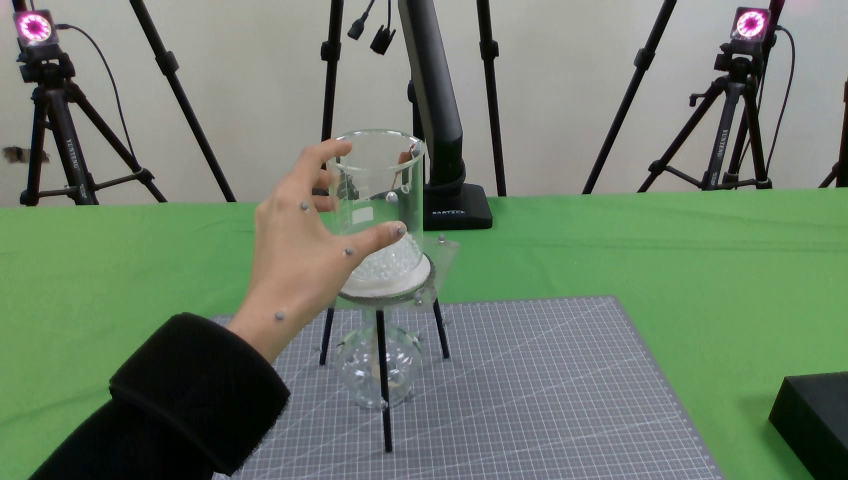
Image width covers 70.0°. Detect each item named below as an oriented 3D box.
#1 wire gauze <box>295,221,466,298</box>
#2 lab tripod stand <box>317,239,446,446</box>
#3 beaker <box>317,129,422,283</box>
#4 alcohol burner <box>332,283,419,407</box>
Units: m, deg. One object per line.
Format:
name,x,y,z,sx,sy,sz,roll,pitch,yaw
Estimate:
wire gauze,-0.035,0.010,0.479,0.125,0.011,0.120,3,25,-10
lab tripod stand,-0.036,0.079,0.527,0.148,0.132,0.147,2,32,-1
beaker,-0.036,-0.025,0.461,0.084,0.101,0.073,-24,40,-33
alcohol burner,-0.043,0.088,0.532,0.078,0.120,0.077,2,30,-1
